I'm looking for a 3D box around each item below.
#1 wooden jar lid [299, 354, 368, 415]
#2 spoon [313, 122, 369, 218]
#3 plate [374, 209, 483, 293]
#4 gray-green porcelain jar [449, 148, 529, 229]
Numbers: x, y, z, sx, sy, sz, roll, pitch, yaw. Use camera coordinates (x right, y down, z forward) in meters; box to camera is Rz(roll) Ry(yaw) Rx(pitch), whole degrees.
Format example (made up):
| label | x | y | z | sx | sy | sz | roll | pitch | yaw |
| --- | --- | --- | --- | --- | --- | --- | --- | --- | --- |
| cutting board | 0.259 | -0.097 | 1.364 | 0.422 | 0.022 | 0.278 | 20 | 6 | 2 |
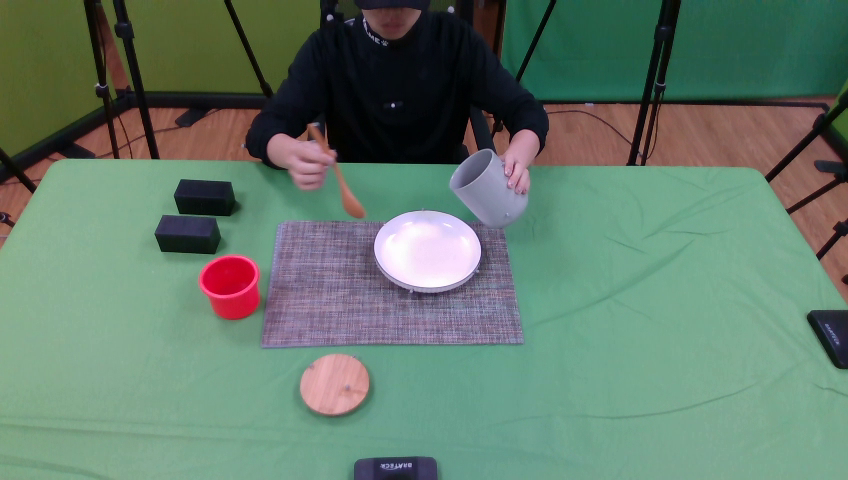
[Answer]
| label | x | y | z | sx | sy | sz | roll | pitch | yaw |
| --- | --- | --- | --- | --- | --- | --- | --- | --- | --- |
| wooden jar lid | -0.143 | 0.232 | 0.964 | 0.108 | 0.021 | 0.107 | 2 | 45 | -2 |
| spoon | -0.144 | -0.115 | 1.037 | 0.041 | 0.194 | 0.021 | -2 | 33 | 35 |
| plate | 0.008 | 0.024 | 1.158 | 0.208 | 0.039 | 0.206 | 2 | 46 | -2 |
| gray-green porcelain jar | 0.126 | -0.092 | 1.137 | 0.106 | 0.127 | 0.105 | -35 | 27 | 22 |
